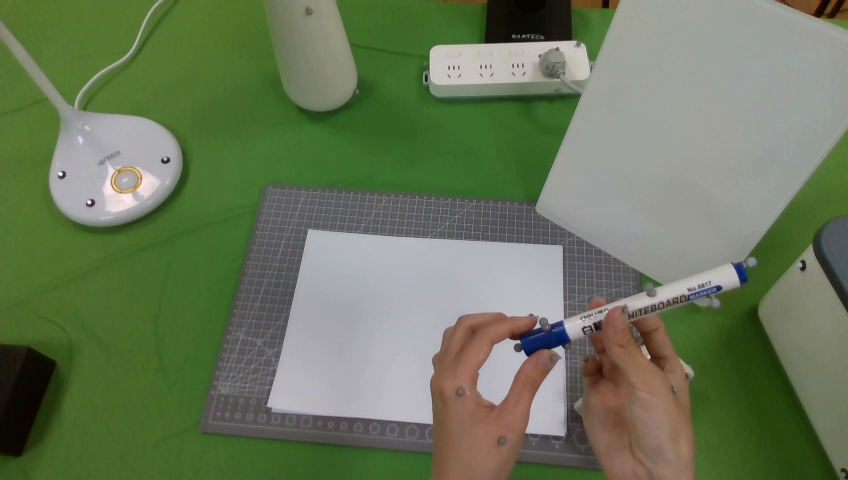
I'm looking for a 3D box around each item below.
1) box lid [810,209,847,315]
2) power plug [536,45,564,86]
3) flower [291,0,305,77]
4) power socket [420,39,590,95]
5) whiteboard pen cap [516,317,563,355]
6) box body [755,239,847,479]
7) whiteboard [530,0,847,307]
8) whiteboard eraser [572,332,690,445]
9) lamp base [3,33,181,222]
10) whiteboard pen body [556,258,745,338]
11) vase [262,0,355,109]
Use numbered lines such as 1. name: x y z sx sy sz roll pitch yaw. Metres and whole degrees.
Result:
1. box lid: 0.495 0.111 0.459 0.263 0.015 0.368 -13 63 -4
2. power plug: 0.158 -0.215 0.771 0.035 0.053 0.072 9 69 6
3. flower: -0.127 -0.282 0.653 0.044 0.362 0.038 -35 83 -25
4. power socket: 0.108 -0.230 0.806 0.227 0.033 0.071 -1 63 1
5. whiteboard pen cap: 0.080 0.064 0.408 0.033 0.018 0.018 -25 63 4
6. box body: 0.498 0.148 0.524 0.254 0.161 0.360 -12 63 -5
7. whiteboard: 0.279 -0.120 0.625 0.216 0.307 0.143 33 47 18
8. whiteboard eraser: 0.204 0.145 0.599 0.112 0.042 0.055 -36 66 -16
9. lamp base: -0.394 -0.135 0.686 0.178 0.182 0.160 35 68 21
10. whiteboard pen body: 0.133 0.042 0.391 0.140 0.017 0.017 -22 61 15
11. vase: -0.143 -0.252 0.730 0.098 0.201 0.097 -1 62 3
